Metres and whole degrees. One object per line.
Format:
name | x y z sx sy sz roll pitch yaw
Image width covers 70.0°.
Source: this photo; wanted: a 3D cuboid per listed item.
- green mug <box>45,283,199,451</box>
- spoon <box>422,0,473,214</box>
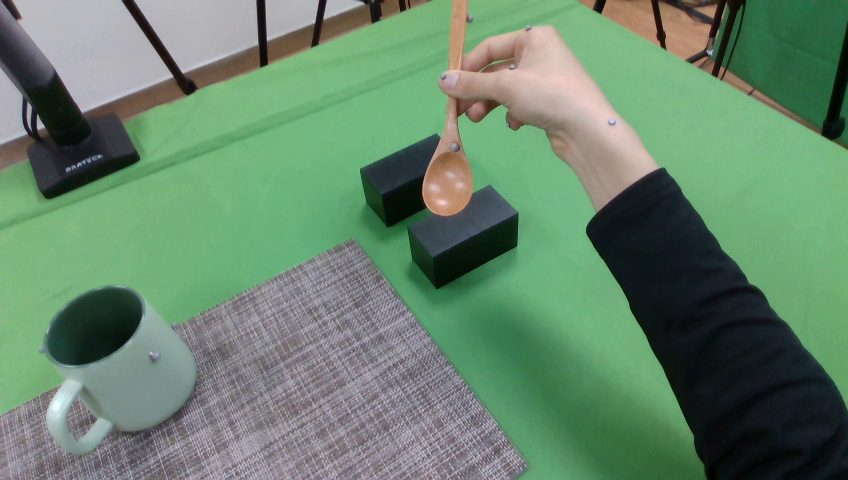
green mug | -0.254 0.111 0.499 0.092 0.106 0.124 9 50 13
spoon | 0.024 -0.117 0.485 0.041 0.022 0.193 4 90 13
